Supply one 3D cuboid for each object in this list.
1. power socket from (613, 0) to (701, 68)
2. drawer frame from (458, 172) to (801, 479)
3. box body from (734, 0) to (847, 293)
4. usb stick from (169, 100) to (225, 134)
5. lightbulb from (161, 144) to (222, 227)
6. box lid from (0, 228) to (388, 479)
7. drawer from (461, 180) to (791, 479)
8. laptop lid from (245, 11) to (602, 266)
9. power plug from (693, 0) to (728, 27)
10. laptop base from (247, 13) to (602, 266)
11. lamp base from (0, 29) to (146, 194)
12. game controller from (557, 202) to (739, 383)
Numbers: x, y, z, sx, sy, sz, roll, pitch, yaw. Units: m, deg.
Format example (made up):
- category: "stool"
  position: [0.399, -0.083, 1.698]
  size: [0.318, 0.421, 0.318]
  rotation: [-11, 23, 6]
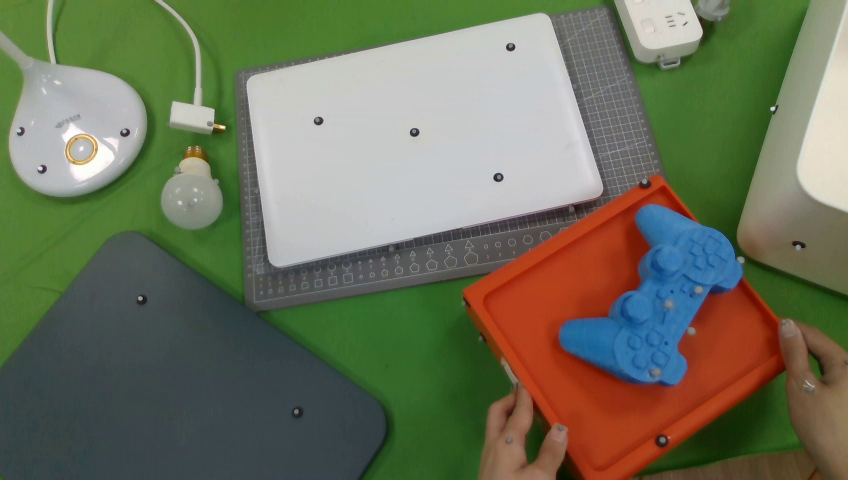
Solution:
- category: "power socket"
  position: [0.251, -0.301, 0.700]
  size: [0.072, 0.033, 0.225]
  rotation: [-11, 69, 0]
- category: "drawer frame"
  position: [0.171, 0.078, 0.545]
  size: [0.213, 0.083, 0.200]
  rotation: [-31, 71, -6]
- category: "box body"
  position: [0.468, -0.120, 0.548]
  size: [0.253, 0.161, 0.362]
  rotation: [22, 74, 12]
- category: "usb stick"
  position: [-0.253, -0.137, 0.680]
  size: [0.059, 0.021, 0.027]
  rotation: [11, 73, -26]
- category: "lightbulb"
  position: [-0.247, -0.063, 0.650]
  size: [0.059, 0.060, 0.106]
  rotation: [-12, 54, 1]
- category: "box lid"
  position: [-0.247, 0.172, 0.586]
  size: [0.370, 0.015, 0.262]
  rotation: [32, 76, 14]
- category: "drawer"
  position: [0.171, 0.080, 0.544]
  size: [0.212, 0.074, 0.193]
  rotation: [-31, 70, -6]
- category: "laptop lid"
  position: [-0.010, -0.116, 0.651]
  size: [0.357, 0.013, 0.240]
  rotation: [-11, 72, 1]
- category: "power plug"
  position: [0.333, -0.267, 0.678]
  size: [0.072, 0.053, 0.035]
  rotation: [-29, 65, -24]
- category: "laptop base"
  position: [-0.010, -0.114, 0.663]
  size: [0.354, 0.023, 0.234]
  rotation: [-12, 73, 0]
- category: "lamp base"
  position: [-0.413, -0.162, 0.629]
  size: [0.160, 0.181, 0.178]
  rotation: [-37, 68, -9]
- category: "game controller"
  position: [0.189, 0.044, 0.501]
  size: [0.097, 0.052, 0.155]
  rotation: [35, 78, 10]
